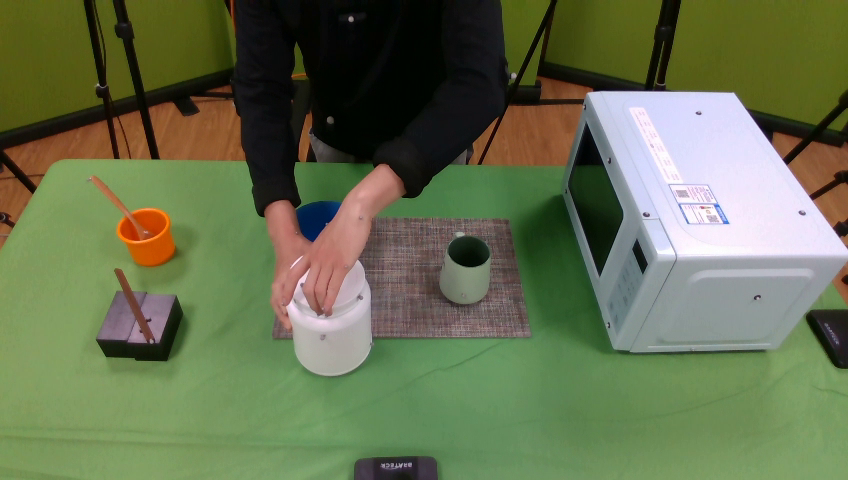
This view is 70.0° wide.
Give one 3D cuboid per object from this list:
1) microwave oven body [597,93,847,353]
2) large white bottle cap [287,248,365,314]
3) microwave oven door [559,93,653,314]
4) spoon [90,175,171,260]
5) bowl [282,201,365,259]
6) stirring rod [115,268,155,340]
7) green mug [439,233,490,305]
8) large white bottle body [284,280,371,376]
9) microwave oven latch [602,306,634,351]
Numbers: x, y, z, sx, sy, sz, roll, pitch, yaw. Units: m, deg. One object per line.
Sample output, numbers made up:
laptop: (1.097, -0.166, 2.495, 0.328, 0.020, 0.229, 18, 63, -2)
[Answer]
microwave oven body: (0.475, -0.041, 1.109, 0.326, 0.261, 0.438, -1, 45, -4)
large white bottle cap: (-0.144, 0.058, 0.896, 0.115, 0.018, 0.114, 3, 48, -3)
microwave oven door: (0.327, -0.074, 1.123, 0.039, 0.245, 0.353, -1, 46, -5)
spoon: (-0.539, -0.042, 1.111, 0.021, 0.194, 0.041, -15, 25, 51)
bowl: (-0.186, 0.005, 1.138, 0.151, 0.077, 0.150, 3, 46, -3)
stirring rod: (-0.479, 0.102, 0.999, 0.014, 0.006, 0.175, 8, 32, -50)
green mug: (0.072, 0.044, 1.101, 0.092, 0.105, 0.124, -6, 46, -9)
large white bottle body: (-0.150, 0.116, 0.959, 0.131, 0.185, 0.130, 2, 48, -2)
microwave oven latch: (0.332, 0.153, 1.044, 0.030, 0.029, 0.078, 0, 45, -4)
